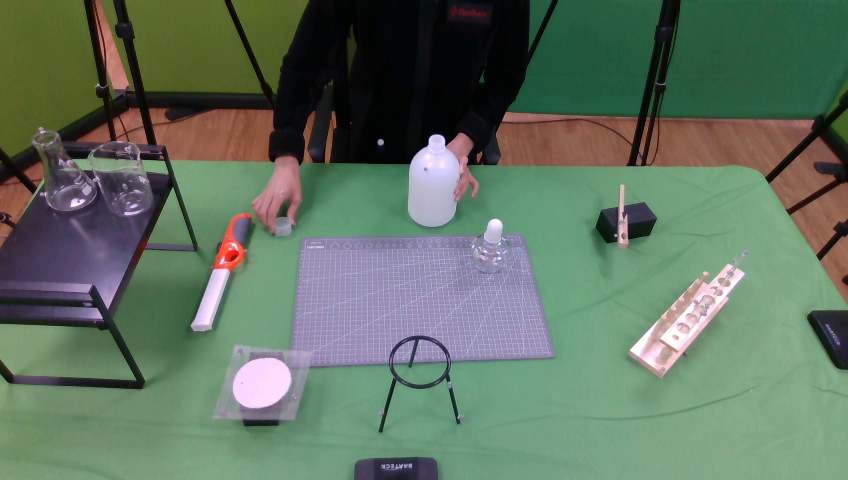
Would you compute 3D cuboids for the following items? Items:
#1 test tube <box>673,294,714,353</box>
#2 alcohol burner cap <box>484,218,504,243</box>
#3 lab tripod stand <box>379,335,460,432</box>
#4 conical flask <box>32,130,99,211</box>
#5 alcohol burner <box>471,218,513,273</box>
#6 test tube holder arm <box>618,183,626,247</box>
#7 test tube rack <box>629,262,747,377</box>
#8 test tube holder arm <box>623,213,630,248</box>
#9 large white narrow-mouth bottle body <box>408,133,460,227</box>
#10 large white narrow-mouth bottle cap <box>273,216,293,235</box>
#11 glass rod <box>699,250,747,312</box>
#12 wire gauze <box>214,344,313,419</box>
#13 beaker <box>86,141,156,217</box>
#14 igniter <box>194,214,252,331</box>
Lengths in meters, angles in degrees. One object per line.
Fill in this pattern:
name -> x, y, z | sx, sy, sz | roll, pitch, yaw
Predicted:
test tube -> 0.428, 0.137, 0.978 | 0.017, 0.151, 0.017 | 4, 47, -4
alcohol burner cap -> 0.130, -0.021, 1.106 | 0.034, 0.048, 0.033 | 3, 51, -4
lab tripod stand -> -0.011, 0.214, 0.911 | 0.148, 0.132, 0.147 | 1, 45, 0
conical flask -> -0.565, -0.110, 0.944 | 0.075, 0.122, 0.075 | 2, 46, -2
alcohol burner -> 0.128, 0.005, 1.132 | 0.078, 0.120, 0.077 | 0, 47, 0
test tube holder arm -> 0.395, -0.053, 1.210 | 0.013, 0.015, 0.177 | 15, 47, 0
test tube rack -> 0.464, 0.126, 1.060 | 0.242, 0.085, 0.066 | -34, 56, -31
test tube holder arm -> 0.392, -0.020, 1.180 | 0.010, 0.015, 0.087 | 14, 47, 0
large white narrow-mouth bottle body -> 0.021, -0.124, 1.198 | 0.102, 0.195, 0.101 | 2, 46, -2
large white narrow-mouth bottle cap -> -0.280, -0.029, 1.202 | 0.038, 0.024, 0.037 | 2, 46, -2
glass rod -> 0.500, 0.075, 1.021 | 0.008, 0.201, 0.008 | 0, 55, 1
wire gauze -> -0.241, 0.213, 0.916 | 0.121, 0.011, 0.124 | 5, 46, 1
beaker -> -0.467, -0.093, 0.950 | 0.084, 0.101, 0.073 | 15, 47, 11
igniter -> -0.367, 0.050, 1.119 | 0.057, 0.025, 0.275 | -4, 45, 7
